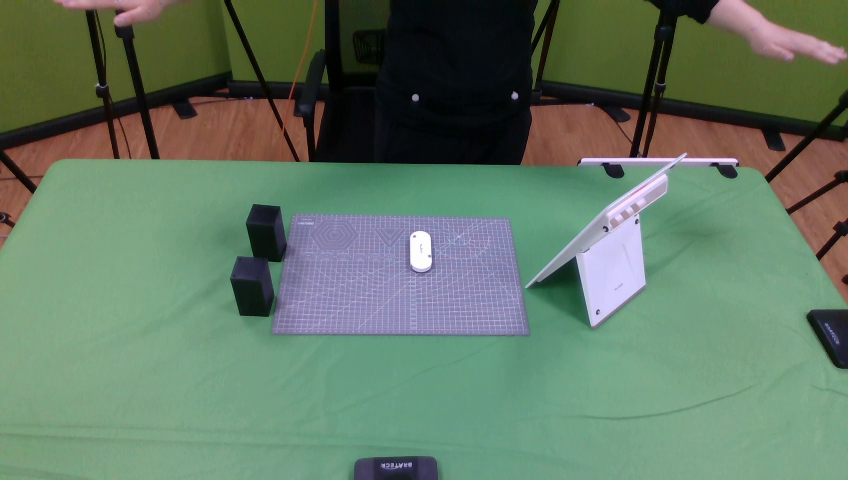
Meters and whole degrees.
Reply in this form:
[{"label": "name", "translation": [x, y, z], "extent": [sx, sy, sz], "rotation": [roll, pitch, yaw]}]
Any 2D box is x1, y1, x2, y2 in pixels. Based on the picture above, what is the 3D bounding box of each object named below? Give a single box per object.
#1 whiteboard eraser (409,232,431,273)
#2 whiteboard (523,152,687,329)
[{"label": "whiteboard eraser", "translation": [-0.009, 0.023, 1.173], "extent": [0.041, 0.019, 0.100], "rotation": [1, 45, -2]}, {"label": "whiteboard", "translation": [0.346, 0.025, 1.046], "extent": [0.217, 0.306, 0.143], "rotation": [-30, 74, -29]}]
